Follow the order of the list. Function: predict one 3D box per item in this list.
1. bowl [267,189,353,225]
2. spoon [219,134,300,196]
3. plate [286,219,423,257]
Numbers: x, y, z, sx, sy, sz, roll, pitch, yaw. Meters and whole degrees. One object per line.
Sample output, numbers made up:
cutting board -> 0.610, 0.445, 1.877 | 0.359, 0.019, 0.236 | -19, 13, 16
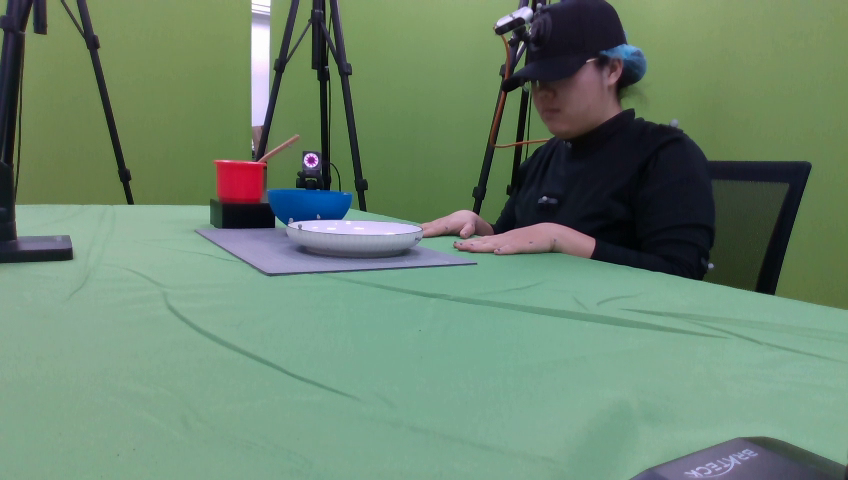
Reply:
bowl -> -0.204, -0.049, 1.080 | 0.151, 0.077, 0.151 | 3, 7, 0
spoon -> -0.316, -0.146, 1.171 | 0.194, 0.022, 0.041 | -45, 22, -14
plate -> -0.105, -0.004, 0.922 | 0.208, 0.039, 0.207 | 3, 8, 0
